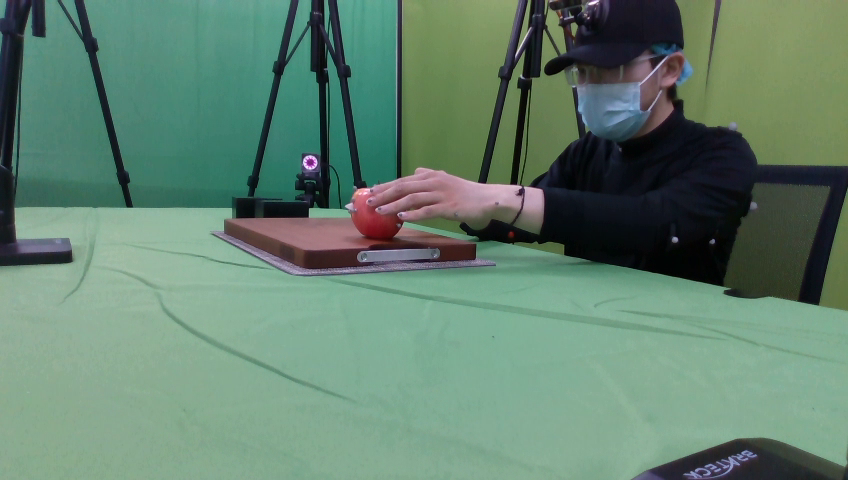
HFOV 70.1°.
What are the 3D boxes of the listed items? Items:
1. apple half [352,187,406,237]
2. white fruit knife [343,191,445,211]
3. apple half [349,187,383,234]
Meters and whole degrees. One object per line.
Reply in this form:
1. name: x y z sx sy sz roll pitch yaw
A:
1. apple half: -0.059 -0.040 0.886 0.081 0.074 0.053 1 12 -45
2. white fruit knife: -0.042 -0.060 0.937 0.016 0.027 0.208 1 7 45
3. apple half: -0.088 -0.045 0.915 0.032 0.081 0.082 8 9 44
